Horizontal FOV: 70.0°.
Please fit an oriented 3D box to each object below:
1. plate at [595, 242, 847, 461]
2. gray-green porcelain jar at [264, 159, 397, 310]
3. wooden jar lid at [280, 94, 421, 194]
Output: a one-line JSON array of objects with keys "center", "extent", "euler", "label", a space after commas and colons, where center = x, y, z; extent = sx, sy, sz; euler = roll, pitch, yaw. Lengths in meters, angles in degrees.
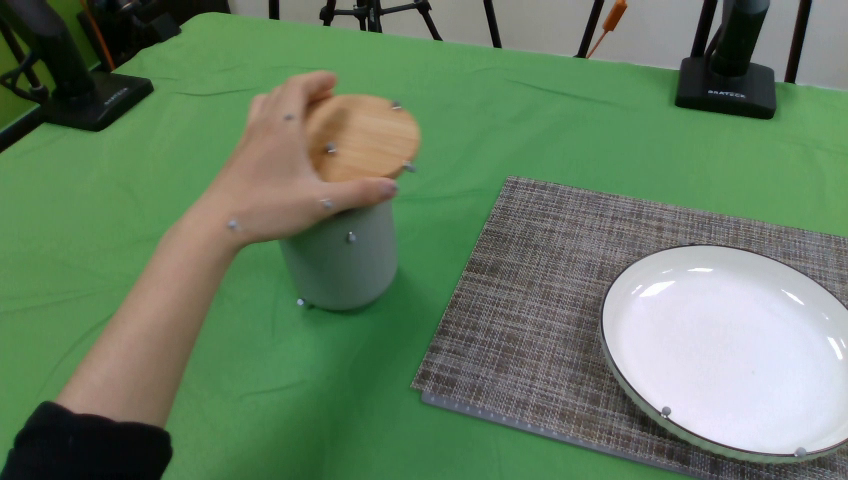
[{"center": [0.245, 0.087, 0.496], "extent": [0.207, 0.039, 0.205], "euler": [-2, 44, 2], "label": "plate"}, {"center": [-0.080, -0.006, 0.555], "extent": [0.106, 0.127, 0.105], "euler": [-2, 44, 2], "label": "gray-green porcelain jar"}, {"center": [-0.056, -0.075, 0.473], "extent": [0.108, 0.021, 0.107], "euler": [1, 49, -1], "label": "wooden jar lid"}]
